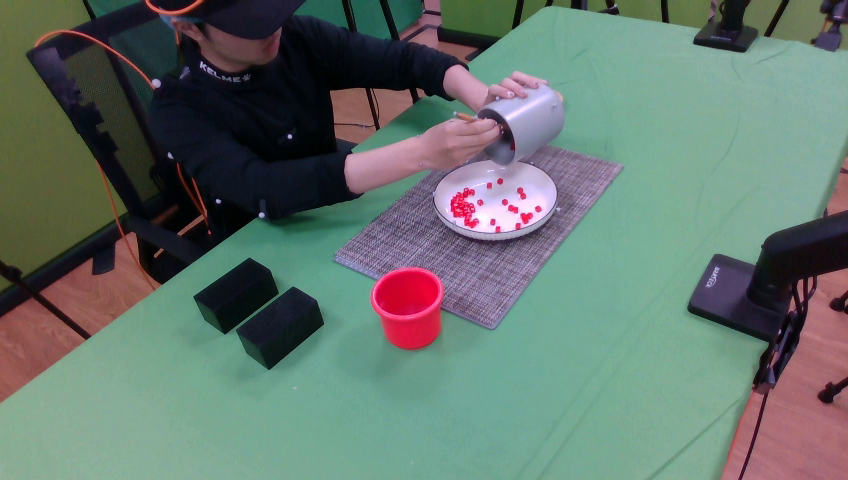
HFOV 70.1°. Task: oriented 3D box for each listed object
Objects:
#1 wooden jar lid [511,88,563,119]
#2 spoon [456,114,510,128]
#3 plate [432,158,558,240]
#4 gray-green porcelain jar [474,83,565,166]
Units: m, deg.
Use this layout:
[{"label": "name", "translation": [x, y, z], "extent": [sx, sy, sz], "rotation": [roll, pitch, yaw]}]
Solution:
[{"label": "wooden jar lid", "translation": [0.237, -0.286, 1.272], "extent": [0.108, 0.021, 0.108], "rotation": [-5, 42, 5]}, {"label": "spoon", "translation": [0.122, -0.188, 0.973], "extent": [0.195, 0.021, 0.041], "rotation": [-7, 42, -41]}, {"label": "plate", "translation": [0.118, -0.066, 1.013], "extent": [0.207, 0.039, 0.206], "rotation": [-4, 41, 4]}, {"label": "gray-green porcelain jar", "translation": [0.165, -0.199, 1.020], "extent": [0.127, 0.106, 0.105], "rotation": [-32, 46, -25]}]
